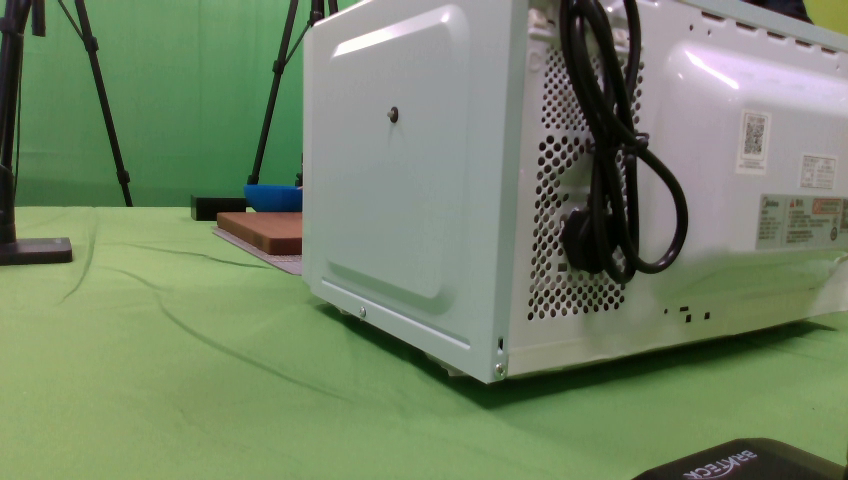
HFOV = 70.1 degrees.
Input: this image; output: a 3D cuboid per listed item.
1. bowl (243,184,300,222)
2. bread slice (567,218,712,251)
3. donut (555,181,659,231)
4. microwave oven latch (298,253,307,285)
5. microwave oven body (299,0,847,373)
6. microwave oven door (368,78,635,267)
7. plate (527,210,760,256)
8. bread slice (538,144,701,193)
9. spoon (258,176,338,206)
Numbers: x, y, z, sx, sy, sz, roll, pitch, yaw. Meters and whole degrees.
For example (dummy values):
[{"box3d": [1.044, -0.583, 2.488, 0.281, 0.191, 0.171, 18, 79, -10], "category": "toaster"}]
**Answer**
[{"box3d": [-0.321, -0.081, 1.334, 0.151, 0.077, 0.151, 3, 7, 0], "category": "bowl"}, {"box3d": [0.208, -0.008, 0.575, 0.105, 0.019, 0.131, 1, 7, -7], "category": "bread slice"}, {"box3d": [0.180, -0.033, 0.597, 0.099, 0.048, 0.099, -2, 8, 1], "category": "donut"}, {"box3d": [-0.081, 0.027, 0.583, 0.079, 0.029, 0.030, -2, 7, -33], "category": "microwave oven latch"}, {"box3d": [0.151, -0.055, 0.543, 0.444, 0.260, 0.324, -2, 7, -33], "category": "microwave oven body"}, {"box3d": [0.095, -0.098, 0.832, 0.355, 0.243, 0.039, 5, 8, 18], "category": "microwave oven door"}, {"box3d": [0.203, -0.009, 0.580, 0.208, 0.039, 0.207, 0, 3, 0], "category": "plate"}, {"box3d": [0.191, -0.069, 0.575, 0.107, 0.018, 0.133, 0, 18, -31], "category": "bread slice"}, {"box3d": [-0.279, -0.112, 1.357, 0.194, 0.021, 0.041, -27, 20, -27], "category": "spoon"}]
